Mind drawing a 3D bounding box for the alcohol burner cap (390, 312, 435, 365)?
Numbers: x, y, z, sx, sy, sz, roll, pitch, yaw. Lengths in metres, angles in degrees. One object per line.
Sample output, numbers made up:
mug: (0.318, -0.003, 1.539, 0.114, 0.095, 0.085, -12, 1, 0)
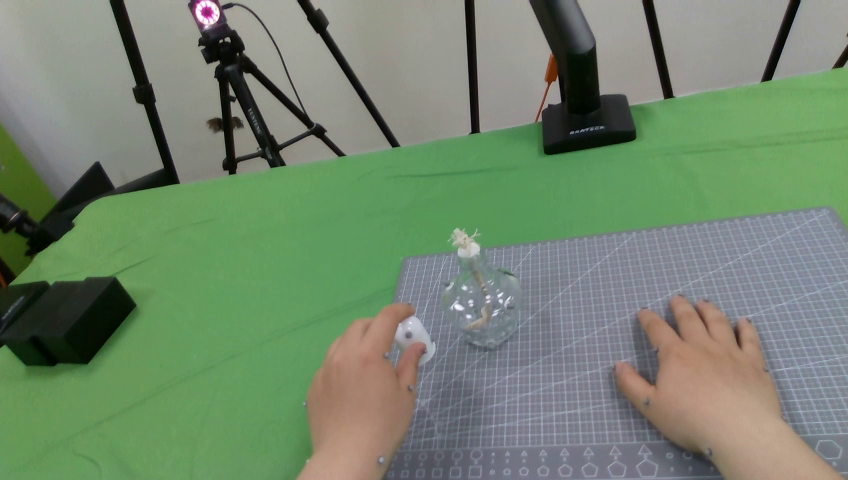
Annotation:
alcohol burner cap: (-0.012, 0.082, 0.528, 0.034, 0.048, 0.033, -12, 43, 12)

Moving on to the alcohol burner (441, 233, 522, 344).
alcohol burner: (0.050, 0.040, 0.561, 0.078, 0.120, 0.077, -10, 38, 8)
